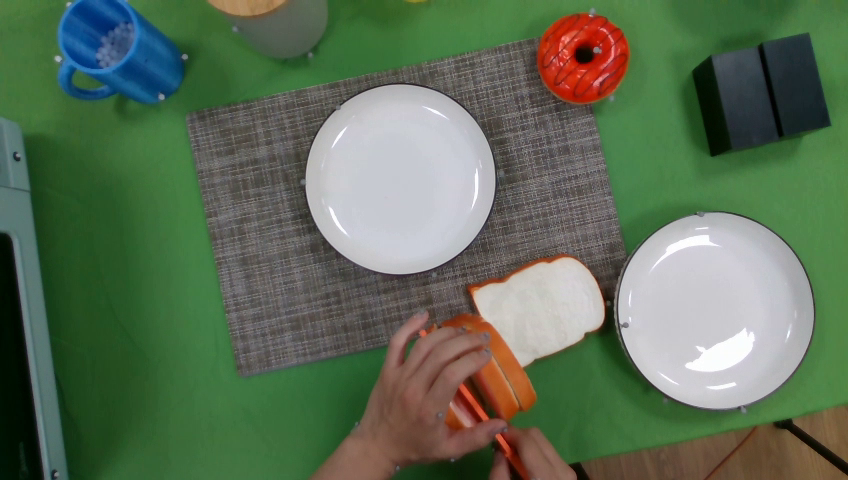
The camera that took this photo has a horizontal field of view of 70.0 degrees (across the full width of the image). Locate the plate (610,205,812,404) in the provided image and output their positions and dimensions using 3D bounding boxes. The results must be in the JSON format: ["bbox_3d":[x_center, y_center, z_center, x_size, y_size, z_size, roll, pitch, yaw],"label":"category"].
[{"bbox_3d":[0.302,0.068,0.651,0.209,0.038,0.209,0,88,2],"label":"plate"}]

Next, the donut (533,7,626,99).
[{"bbox_3d":[0.167,-0.202,0.656,0.099,0.048,0.099,0,89,1],"label":"donut"}]

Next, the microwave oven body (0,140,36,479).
[{"bbox_3d":[-0.582,0.095,0.557,0.326,0.260,0.441,-9,88,1],"label":"microwave oven body"}]

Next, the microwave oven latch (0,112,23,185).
[{"bbox_3d":[-0.460,-0.099,0.656,0.030,0.029,0.079,-8,89,1],"label":"microwave oven latch"}]

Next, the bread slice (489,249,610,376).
[{"bbox_3d":[0.136,0.065,0.614,0.135,0.018,0.106,-18,82,-39],"label":"bread slice"}]

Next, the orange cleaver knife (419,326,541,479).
[{"bbox_3d":[0.059,0.170,0.594,0.012,0.076,0.212,-36,108,1],"label":"orange cleaver knife"}]

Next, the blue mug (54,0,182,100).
[{"bbox_3d":[-0.331,-0.193,0.641,0.116,0.106,0.082,-38,87,0],"label":"blue mug"}]

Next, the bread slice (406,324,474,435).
[{"bbox_3d":[0.016,0.141,0.612,0.019,0.131,0.105,-33,88,6],"label":"bread slice"}]

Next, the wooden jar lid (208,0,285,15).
[{"bbox_3d":[-0.164,-0.261,0.567,0.108,0.021,0.108,0,86,2],"label":"wooden jar lid"}]

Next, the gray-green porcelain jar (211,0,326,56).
[{"bbox_3d":[-0.162,-0.258,0.629,0.106,0.126,0.105,0,88,2],"label":"gray-green porcelain jar"}]

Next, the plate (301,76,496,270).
[{"bbox_3d":[-0.027,-0.071,0.660,0.207,0.039,0.207,0,88,2],"label":"plate"}]

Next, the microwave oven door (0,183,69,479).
[{"bbox_3d":[-0.431,0.114,0.548,0.039,0.244,0.355,-9,88,2],"label":"microwave oven door"}]
